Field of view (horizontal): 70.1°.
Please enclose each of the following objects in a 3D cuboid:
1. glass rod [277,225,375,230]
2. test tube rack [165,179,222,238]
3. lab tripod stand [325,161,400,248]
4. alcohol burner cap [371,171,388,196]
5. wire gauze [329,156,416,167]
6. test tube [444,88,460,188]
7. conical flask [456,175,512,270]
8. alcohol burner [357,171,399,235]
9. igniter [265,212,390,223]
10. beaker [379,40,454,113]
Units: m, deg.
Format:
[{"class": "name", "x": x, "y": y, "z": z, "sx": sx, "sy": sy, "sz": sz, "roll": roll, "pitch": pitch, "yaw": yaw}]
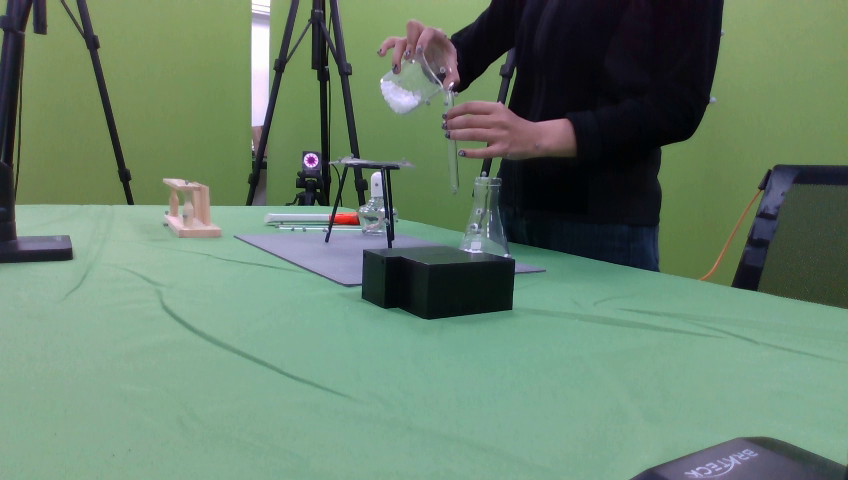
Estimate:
[{"class": "glass rod", "x": -0.187, "y": -0.024, "z": 1.178, "sx": 0.201, "sy": 0.008, "sz": 0.008, "roll": 1, "pitch": 6, "yaw": -31}, {"class": "test tube rack", "x": -0.423, "y": -0.062, "z": 1.098, "sx": 0.067, "sy": 0.085, "sz": 0.241, "roll": -2, "pitch": 9, "yaw": -28}, {"class": "lab tripod stand", "x": -0.083, "y": -0.060, "z": 0.977, "sx": 0.148, "sy": 0.131, "sz": 0.148, "roll": 4, "pitch": 8, "yaw": 0}, {"class": "alcohol burner cap", "x": -0.085, "y": -0.104, "z": 1.120, "sx": 0.034, "sy": 0.048, "sz": 0.034, "roll": -5, "pitch": 8, "yaw": 1}, {"class": "wire gauze", "x": -0.079, "y": -0.126, "z": 0.972, "sx": 0.121, "sy": 0.011, "sz": 0.125, "roll": 4, "pitch": 8, "yaw": 5}, {"class": "test tube", "x": 0.042, "y": -0.153, "z": 0.912, "sx": 0.017, "sy": 0.150, "sz": 0.017, "roll": -4, "pitch": 0, "yaw": 0}, {"class": "conical flask", "x": 0.082, "y": -0.025, "z": 0.801, "sx": 0.075, "sy": 0.122, "sz": 0.075, "roll": 2, "pitch": 7, "yaw": 0}, {"class": "alcohol burner", "x": -0.085, "y": -0.069, "z": 1.125, "sx": 0.078, "sy": 0.119, "sz": 0.078, "roll": 3, "pitch": 10, "yaw": 0}, {"class": "igniter", "x": -0.196, "y": -0.048, "z": 1.285, "sx": 0.278, "sy": 0.025, "sz": 0.057, "roll": -2, "pitch": -2, "yaw": -30}, {"class": "beaker", "x": -0.013, "y": -0.248, "z": 0.944, "sx": 0.100, "sy": 0.084, "sz": 0.074, "roll": -26, "pitch": -10, "yaw": 34}]
